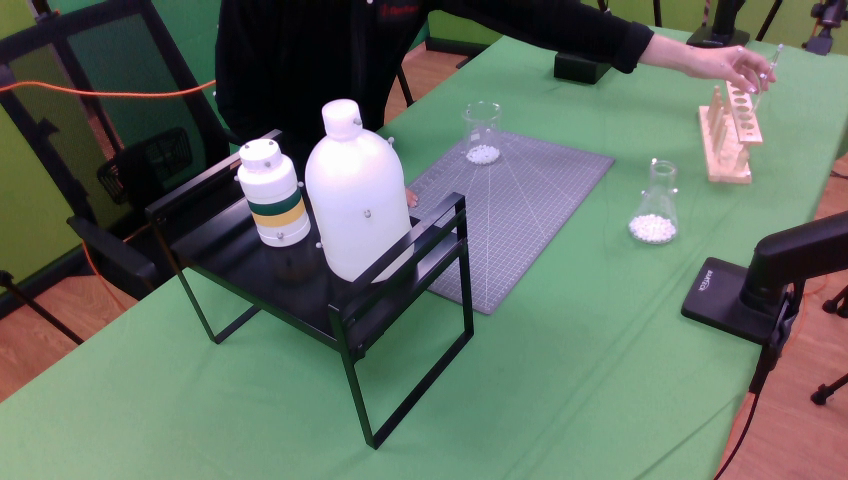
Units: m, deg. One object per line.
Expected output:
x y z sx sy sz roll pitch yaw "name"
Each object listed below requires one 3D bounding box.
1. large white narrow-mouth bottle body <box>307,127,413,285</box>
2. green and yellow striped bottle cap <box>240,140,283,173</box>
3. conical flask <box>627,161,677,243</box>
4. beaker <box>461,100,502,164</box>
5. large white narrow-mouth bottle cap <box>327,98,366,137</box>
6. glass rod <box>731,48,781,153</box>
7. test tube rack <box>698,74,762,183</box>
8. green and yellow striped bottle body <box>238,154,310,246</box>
-0.069 -0.051 0.638 0.102 0.195 0.101 -3 40 3 "large white narrow-mouth bottle body"
-0.183 -0.094 0.680 0.045 0.020 0.045 -4 38 4 "green and yellow striped bottle cap"
0.355 -0.061 0.921 0.075 0.122 0.075 -4 41 4 "conical flask"
0.111 -0.200 1.132 0.084 0.101 0.073 -27 45 -22 "beaker"
-0.075 -0.118 0.581 0.038 0.024 0.037 -3 40 3 "large white narrow-mouth bottle cap"
0.555 -0.228 1.015 0.008 0.200 0.008 1 44 -1 "glass rod"
0.547 -0.208 1.094 0.066 0.085 0.242 6 42 15 "test tube rack"
-0.178 -0.056 0.714 0.063 0.120 0.063 -4 40 4 "green and yellow striped bottle body"
